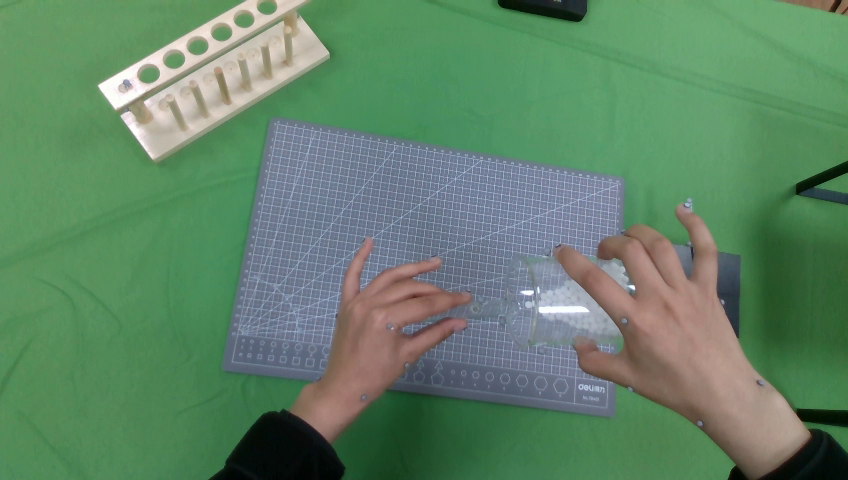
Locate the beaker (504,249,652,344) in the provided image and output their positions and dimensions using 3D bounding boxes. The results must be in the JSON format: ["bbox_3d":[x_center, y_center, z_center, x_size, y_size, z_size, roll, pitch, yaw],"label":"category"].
[{"bbox_3d":[0.122,0.046,0.489,0.100,0.084,0.073,0,77,-11],"label":"beaker"}]

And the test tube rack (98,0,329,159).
[{"bbox_3d":[-0.225,-0.196,0.684,0.242,0.085,0.066,-36,85,-15],"label":"test tube rack"}]

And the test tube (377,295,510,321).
[{"bbox_3d":[0.013,0.064,0.562,0.017,0.149,0.017,14,72,-49],"label":"test tube"}]

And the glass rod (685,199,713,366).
[{"bbox_3d":[0.323,0.048,0.713,0.008,0.008,0.199,-1,78,-9],"label":"glass rod"}]
